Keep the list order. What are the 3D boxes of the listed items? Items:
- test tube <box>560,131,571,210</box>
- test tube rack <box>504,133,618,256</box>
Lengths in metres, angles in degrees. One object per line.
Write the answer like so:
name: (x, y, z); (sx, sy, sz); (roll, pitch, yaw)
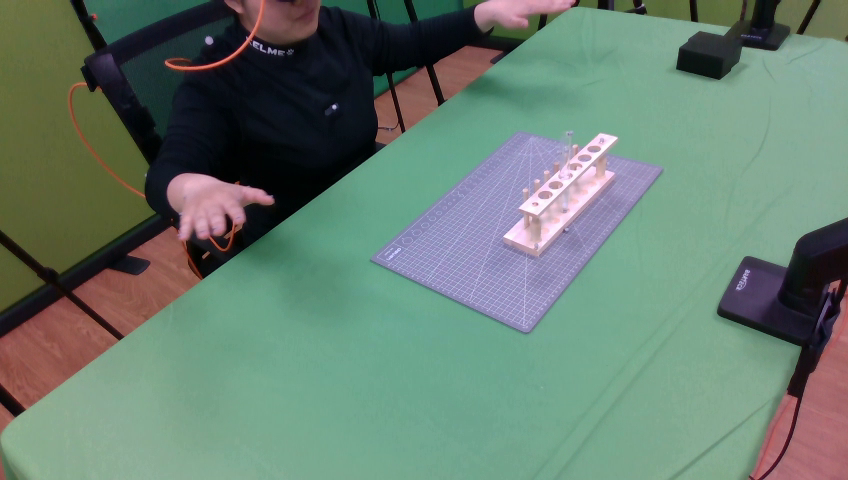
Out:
test tube: (0.218, -0.103, 0.933); (0.017, 0.151, 0.017); (-6, 45, 7)
test tube rack: (0.225, -0.083, 0.984); (0.066, 0.085, 0.243); (25, 50, 34)
